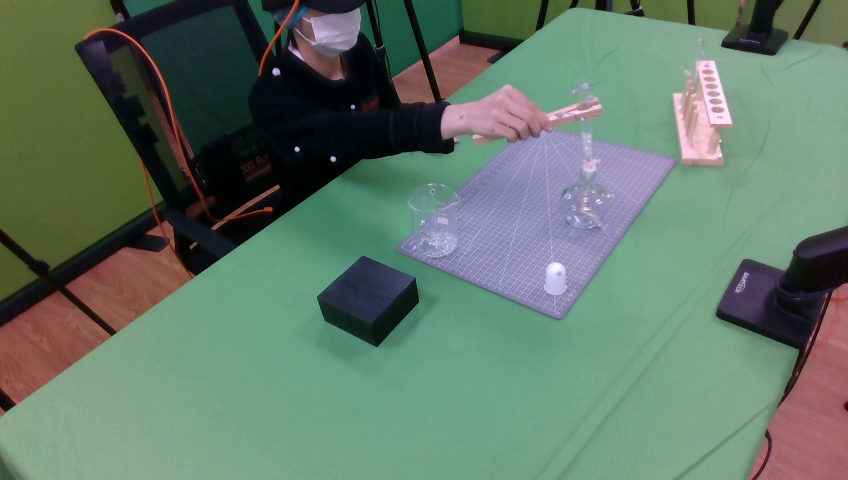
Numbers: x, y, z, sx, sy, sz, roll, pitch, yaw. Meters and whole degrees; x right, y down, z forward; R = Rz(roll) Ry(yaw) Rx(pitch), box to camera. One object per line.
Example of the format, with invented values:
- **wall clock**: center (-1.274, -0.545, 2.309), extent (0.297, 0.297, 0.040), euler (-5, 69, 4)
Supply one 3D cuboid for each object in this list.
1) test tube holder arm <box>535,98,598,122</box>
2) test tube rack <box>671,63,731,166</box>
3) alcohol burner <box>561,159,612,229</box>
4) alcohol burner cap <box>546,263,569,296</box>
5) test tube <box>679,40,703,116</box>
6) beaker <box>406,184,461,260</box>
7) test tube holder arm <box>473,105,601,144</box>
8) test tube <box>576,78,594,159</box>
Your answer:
- **test tube holder arm**: center (0.198, -0.176, 0.838), extent (0.088, 0.015, 0.010), euler (-19, 50, 3)
- **test tube rack**: center (0.513, -0.241, 1.132), extent (0.066, 0.085, 0.242), euler (4, 41, 14)
- **alcohol burner**: center (0.257, -0.077, 0.951), extent (0.078, 0.119, 0.077), euler (-3, 40, 3)
- **alcohol burner cap**: center (0.191, 0.053, 0.862), extent (0.034, 0.048, 0.033), euler (-5, 40, 4)
- **test tube**: center (0.502, -0.303, 1.138), extent (0.017, 0.151, 0.017), euler (-3, 40, 3)
- **beaker**: center (0.019, -0.026, 0.939), extent (0.084, 0.101, 0.074), euler (1, 41, 10)
- **test tube holder arm**: center (0.155, -0.160, 0.839), extent (0.178, 0.015, 0.013), euler (-13, 50, 8)
- **test tube**: center (0.227, -0.166, 0.850), extent (0.017, 0.151, 0.017), euler (-9, 53, 13)
